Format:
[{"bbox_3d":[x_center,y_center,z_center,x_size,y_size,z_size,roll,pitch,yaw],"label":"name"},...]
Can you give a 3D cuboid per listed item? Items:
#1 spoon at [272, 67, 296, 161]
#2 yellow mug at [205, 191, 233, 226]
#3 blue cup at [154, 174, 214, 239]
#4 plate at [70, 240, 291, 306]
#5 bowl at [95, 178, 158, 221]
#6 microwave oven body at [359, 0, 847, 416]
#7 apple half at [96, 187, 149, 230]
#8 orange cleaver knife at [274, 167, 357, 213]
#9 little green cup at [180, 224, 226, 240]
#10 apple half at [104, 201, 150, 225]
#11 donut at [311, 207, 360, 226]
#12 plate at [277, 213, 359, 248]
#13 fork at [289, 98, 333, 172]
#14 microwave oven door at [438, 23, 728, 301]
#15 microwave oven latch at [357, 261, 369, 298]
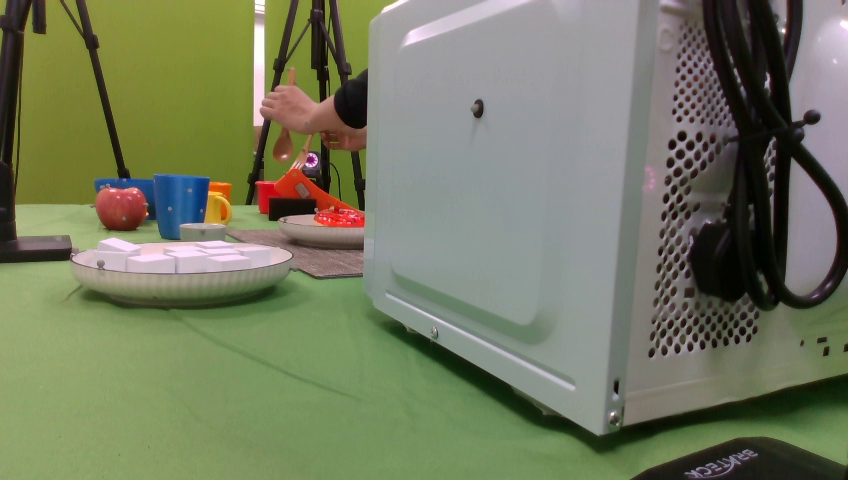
[{"bbox_3d":[-0.269,-0.248,1.190,0.041,0.193,0.022,5,-4,10],"label":"spoon"},{"bbox_3d":[-0.415,-0.057,1.132,0.130,0.064,0.100,6,8,16],"label":"yellow mug"},{"bbox_3d":[-0.391,-0.053,0.978,0.093,0.100,0.092,4,6,0],"label":"blue cup"},{"bbox_3d":[-0.242,0.032,0.618,0.208,0.039,0.207,2,8,0],"label":"plate"},{"bbox_3d":[-0.576,-0.081,1.217,0.151,0.077,0.151,3,8,0],"label":"bowl"},{"bbox_3d":[0.211,-0.047,0.474,0.444,0.260,0.324,-1,7,-28],"label":"microwave oven body"},{"bbox_3d":[-0.516,-0.052,1.036,0.081,0.074,0.053,3,11,-26],"label":"apple half"},{"bbox_3d":[-0.238,-0.091,1.381,0.212,0.077,0.012,31,1,-19],"label":"orange cleaver knife"},{"bbox_3d":[-0.309,-0.001,0.846,0.061,0.038,0.061,2,8,0],"label":"little green cup"},{"bbox_3d":[-0.548,-0.044,1.115,0.081,0.033,0.081,18,6,-2],"label":"apple half"},{"bbox_3d":[-0.137,-0.029,0.995,0.099,0.048,0.099,4,9,0],"label":"donut"},{"bbox_3d":[-0.135,-0.017,0.993,0.209,0.038,0.209,3,8,0],"label":"plate"},{"bbox_3d":[-0.258,-0.244,1.397,0.028,0.207,0.019,16,-16,27],"label":"fork"},{"bbox_3d":[0.181,-0.073,0.620,0.358,0.243,0.039,-2,8,-29],"label":"microwave oven door"},{"bbox_3d":[-0.019,0.033,0.530,0.079,0.029,0.030,0,7,-25],"label":"microwave oven latch"}]
